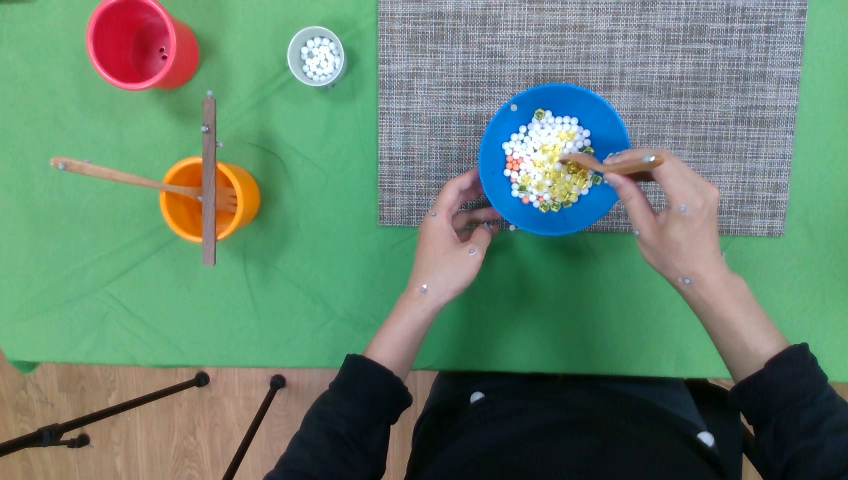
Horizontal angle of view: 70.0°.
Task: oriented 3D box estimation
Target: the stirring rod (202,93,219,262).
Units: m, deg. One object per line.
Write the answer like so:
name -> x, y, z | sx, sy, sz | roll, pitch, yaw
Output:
stirring rod -> -0.223, -0.064, 0.633 | 0.014, 0.006, 0.176 | 3, 99, 5

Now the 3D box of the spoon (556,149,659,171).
spoon -> 0.165, -0.071, 0.550 | 0.042, 0.193, 0.021 | 16, 98, -8

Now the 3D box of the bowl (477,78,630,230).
bowl -> 0.130, -0.089, 0.635 | 0.151, 0.076, 0.151 | 1, 99, 5

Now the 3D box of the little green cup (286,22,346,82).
little green cup -> -0.115, -0.202, 0.661 | 0.061, 0.038, 0.061 | 1, 99, 5

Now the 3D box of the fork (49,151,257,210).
fork -> -0.276, -0.062, 0.640 | 0.209, 0.018, 0.028 | 12, 106, -41
